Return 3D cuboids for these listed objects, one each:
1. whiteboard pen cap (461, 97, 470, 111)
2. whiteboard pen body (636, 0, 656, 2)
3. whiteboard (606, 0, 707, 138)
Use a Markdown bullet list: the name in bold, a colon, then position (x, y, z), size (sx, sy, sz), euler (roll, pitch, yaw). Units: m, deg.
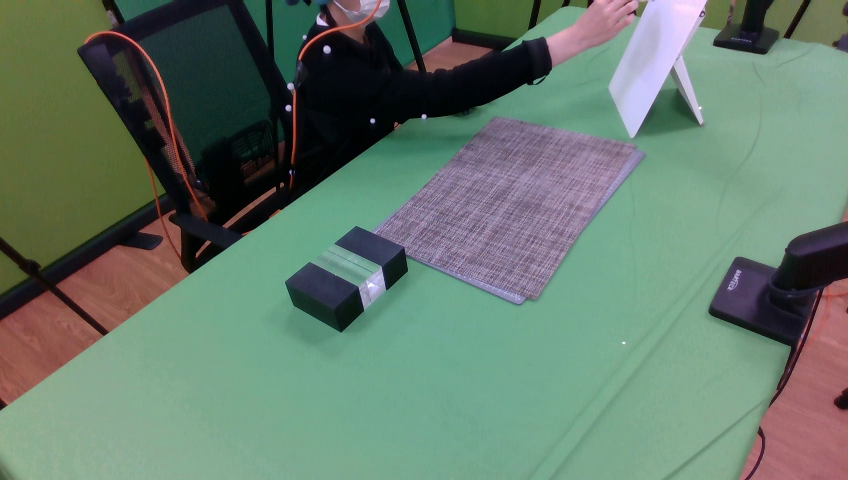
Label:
- **whiteboard pen cap**: position (0.089, -0.289, 1.286), size (0.018, 0.018, 0.033), euler (-6, 45, 1)
- **whiteboard pen body**: position (0.365, -0.451, 1.107), size (0.141, 0.017, 0.017), euler (3, 38, -16)
- **whiteboard**: position (0.496, -0.358, 1.147), size (0.144, 0.305, 0.216), euler (11, 40, -7)
